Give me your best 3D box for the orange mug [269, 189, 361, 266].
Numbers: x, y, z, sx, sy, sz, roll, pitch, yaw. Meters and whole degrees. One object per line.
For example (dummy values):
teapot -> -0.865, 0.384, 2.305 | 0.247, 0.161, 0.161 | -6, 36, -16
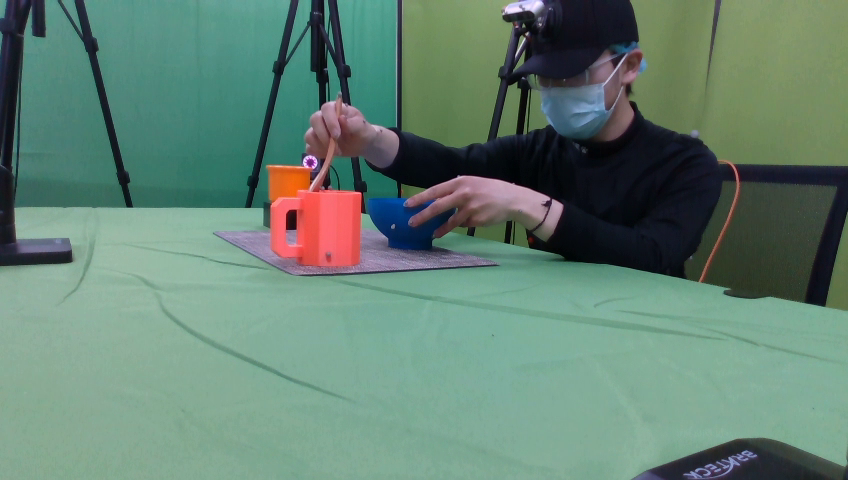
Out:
orange mug -> -0.142, -0.019, 0.796 | 0.127, 0.100, 0.083 | 3, 5, -39

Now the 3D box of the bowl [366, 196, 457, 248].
bowl -> -0.022, -0.029, 1.000 | 0.151, 0.077, 0.151 | 2, 7, 0

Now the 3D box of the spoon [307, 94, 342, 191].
spoon -> -0.134, -0.110, 0.821 | 0.021, 0.193, 0.041 | 12, -15, 8
